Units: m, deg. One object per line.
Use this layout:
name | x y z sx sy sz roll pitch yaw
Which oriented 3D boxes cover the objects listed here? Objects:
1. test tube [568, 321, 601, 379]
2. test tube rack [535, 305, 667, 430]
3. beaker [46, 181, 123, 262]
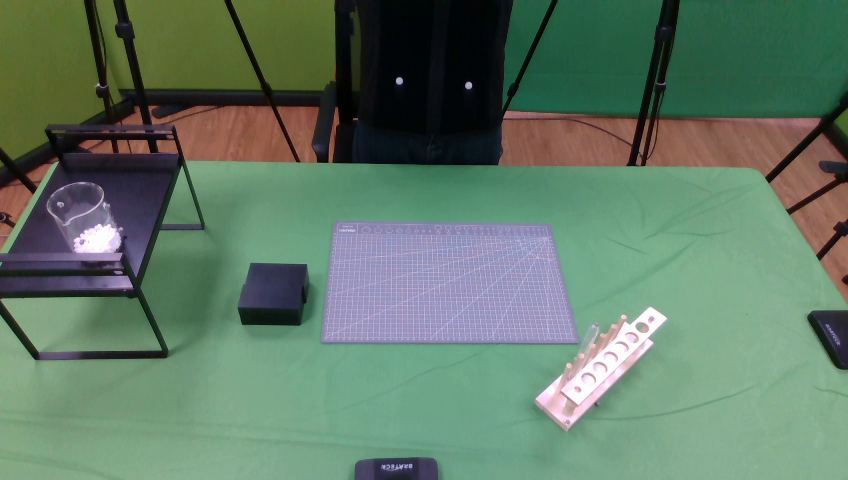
test tube | 0.247 0.173 0.938 0.017 0.151 0.017 2 47 -2
test tube rack | 0.290 0.193 0.984 0.242 0.085 0.066 -32 56 -30
beaker | -0.487 -0.021 0.877 0.074 0.101 0.083 3 47 0
